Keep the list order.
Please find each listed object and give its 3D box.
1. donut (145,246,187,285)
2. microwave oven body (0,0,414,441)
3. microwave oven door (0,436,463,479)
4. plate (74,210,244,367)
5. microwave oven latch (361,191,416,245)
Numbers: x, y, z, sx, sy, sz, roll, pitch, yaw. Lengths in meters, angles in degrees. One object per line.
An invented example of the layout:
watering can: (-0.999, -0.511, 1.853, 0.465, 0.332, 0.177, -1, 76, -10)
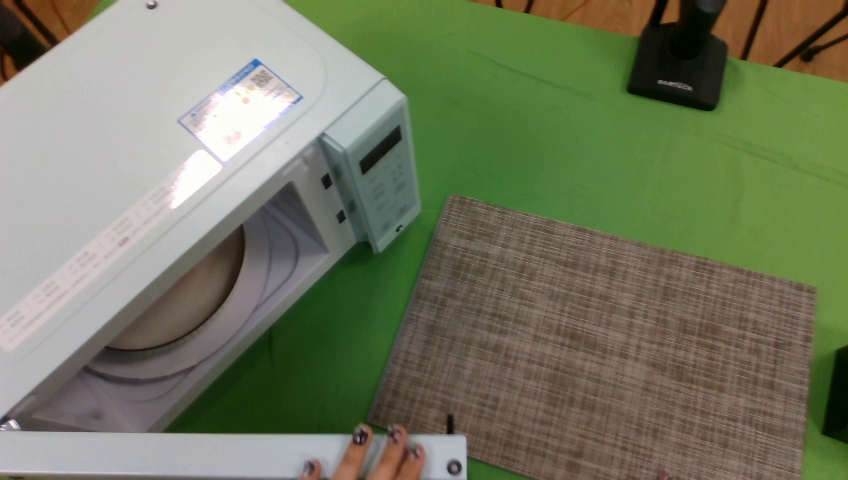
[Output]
donut: (-0.310, 0.005, 0.677, 0.099, 0.048, 0.098, 8, 57, -13)
microwave oven body: (-0.278, -0.037, 0.642, 0.324, 0.262, 0.441, 39, 75, 16)
microwave oven door: (-0.143, 0.194, 0.535, 0.356, 0.245, 0.039, -1, 67, 2)
plate: (-0.288, 0.039, 0.654, 0.209, 0.038, 0.207, -5, 62, 10)
microwave oven latch: (-0.044, -0.032, 0.735, 0.030, 0.030, 0.079, 40, 75, 16)
